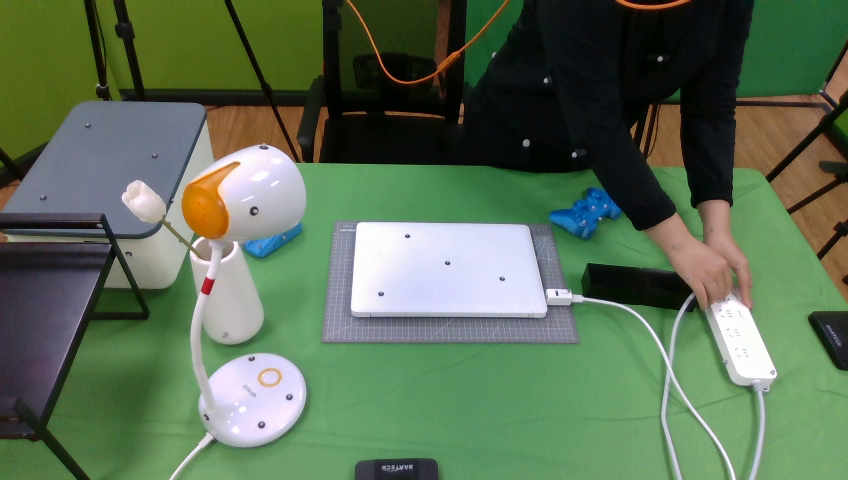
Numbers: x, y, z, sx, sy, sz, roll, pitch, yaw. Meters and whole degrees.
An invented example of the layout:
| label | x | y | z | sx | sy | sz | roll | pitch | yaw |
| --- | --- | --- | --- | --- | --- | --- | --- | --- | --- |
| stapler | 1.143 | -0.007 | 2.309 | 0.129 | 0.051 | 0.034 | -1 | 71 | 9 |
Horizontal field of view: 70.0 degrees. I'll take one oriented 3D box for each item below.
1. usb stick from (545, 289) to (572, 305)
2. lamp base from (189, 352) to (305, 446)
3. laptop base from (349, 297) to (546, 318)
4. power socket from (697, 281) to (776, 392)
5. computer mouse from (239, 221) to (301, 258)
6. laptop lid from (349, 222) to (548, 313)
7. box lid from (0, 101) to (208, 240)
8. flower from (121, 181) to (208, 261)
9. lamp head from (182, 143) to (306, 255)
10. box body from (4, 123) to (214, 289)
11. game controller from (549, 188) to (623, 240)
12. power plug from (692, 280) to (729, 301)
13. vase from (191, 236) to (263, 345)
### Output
| label | x | y | z | sx | sy | sz | roll | pitch | yaw |
| --- | --- | --- | --- | --- | --- | --- | --- | --- | --- |
| usb stick | 0.237 | 0.104 | 1.100 | 0.059 | 0.027 | 0.021 | -1 | 49 | 2 |
| lamp base | -0.267 | 0.197 | 0.876 | 0.160 | 0.181 | 0.179 | 26 | 52 | 20 |
| laptop base | 0.041 | 0.056 | 1.148 | 0.355 | 0.023 | 0.234 | 1 | 43 | -4 |
| power socket | 0.551 | 0.161 | 1.077 | 0.072 | 0.033 | 0.225 | 2 | 46 | -1 |
| computer mouse | -0.299 | -0.016 | 1.177 | 0.062 | 0.041 | 0.117 | 36 | 58 | 23 |
| laptop lid | 0.042 | 0.047 | 1.142 | 0.357 | 0.013 | 0.240 | 2 | 44 | -3 |
| box lid | -0.558 | -0.137 | 1.084 | 0.263 | 0.015 | 0.369 | 2 | 46 | -2 |
| flower | -0.328 | 0.030 | 0.904 | 0.038 | 0.364 | 0.044 | -22 | 58 | -1 |
| lamp head | -0.215 | -0.043 | 0.696 | 0.112 | 0.113 | 0.123 | 23 | 31 | 17 |
| box body | -0.563 | -0.087 | 1.139 | 0.254 | 0.161 | 0.361 | 2 | 46 | -3 |
| game controller | 0.346 | -0.064 | 1.271 | 0.155 | 0.052 | 0.096 | -31 | 57 | -28 |
| power plug | 0.523 | 0.092 | 1.115 | 0.072 | 0.053 | 0.035 | 13 | 50 | 9 |
| vase | -0.317 | 0.081 | 0.971 | 0.098 | 0.201 | 0.097 | 3 | 47 | -3 |
